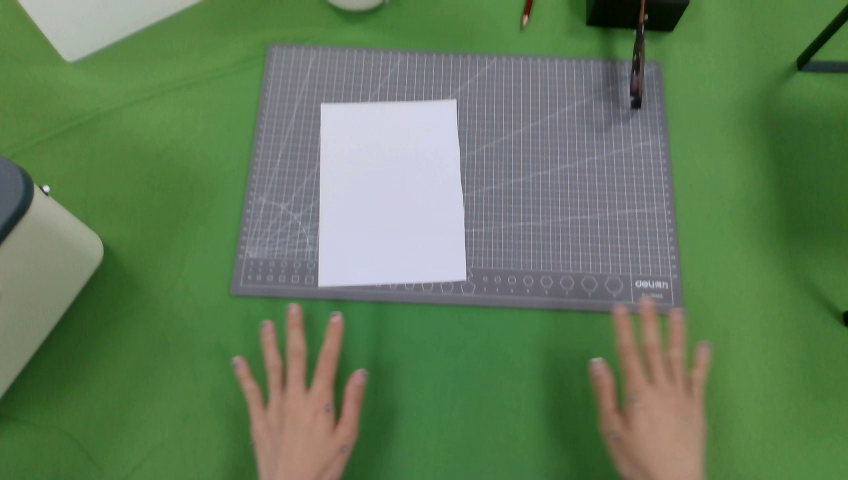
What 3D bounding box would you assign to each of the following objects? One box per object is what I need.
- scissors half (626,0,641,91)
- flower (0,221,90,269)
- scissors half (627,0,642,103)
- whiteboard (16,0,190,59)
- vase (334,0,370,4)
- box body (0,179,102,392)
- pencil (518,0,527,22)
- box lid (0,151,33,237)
[{"bbox_3d":[0.228,-0.240,0.645,0.013,0.040,0.174,4,73,20],"label":"scissors half"},{"bbox_3d":[-0.507,0.024,0.593,0.362,0.038,0.044,-7,103,3],"label":"flower"},{"bbox_3d":[0.236,-0.237,0.663,0.012,0.040,0.175,4,91,25],"label":"scissors half"},{"bbox_3d":[-0.377,-0.390,0.616,0.217,0.308,0.142,-31,55,-10],"label":"whiteboard"},{"bbox_3d":[-0.085,-0.344,0.630,0.098,0.201,0.097,0,70,1],"label":"vase"},{"bbox_3d":[-0.517,0.001,0.528,0.363,0.161,0.253,27,73,7],"label":"box body"},{"bbox_3d":[0.134,-0.343,0.732,0.012,0.012,0.193,14,73,4],"label":"pencil"},{"bbox_3d":[-0.518,-0.024,0.458,0.370,0.015,0.262,27,73,7],"label":"box lid"}]
